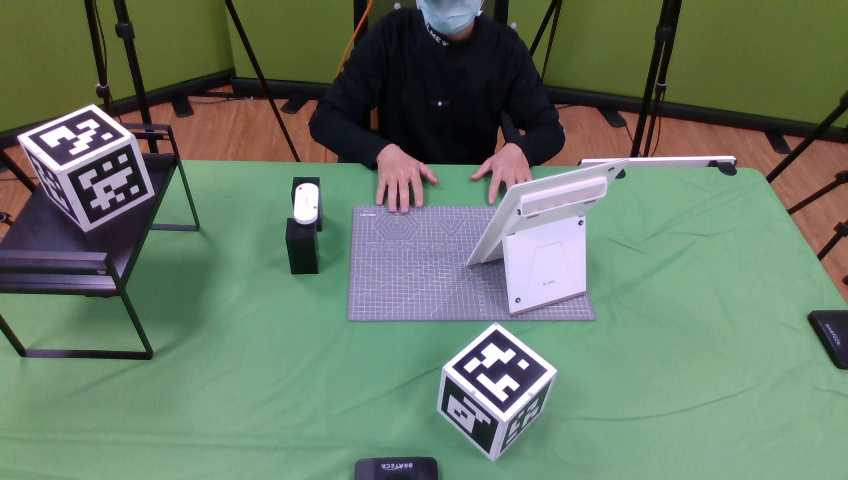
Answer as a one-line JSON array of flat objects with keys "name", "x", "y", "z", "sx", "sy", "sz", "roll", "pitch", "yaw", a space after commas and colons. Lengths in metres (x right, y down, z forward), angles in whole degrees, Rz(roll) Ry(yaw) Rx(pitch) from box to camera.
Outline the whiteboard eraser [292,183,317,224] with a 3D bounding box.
[{"name": "whiteboard eraser", "x": -0.217, "y": -0.068, "z": 1.108, "sx": 0.041, "sy": 0.019, "sz": 0.100, "roll": -2, "pitch": 46, "yaw": -4}]

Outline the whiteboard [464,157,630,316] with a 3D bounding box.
[{"name": "whiteboard", "x": 0.224, "y": 0.015, "z": 1.042, "sx": 0.217, "sy": 0.306, "sz": 0.143, "roll": -14, "pitch": 68, "yaw": -17}]
